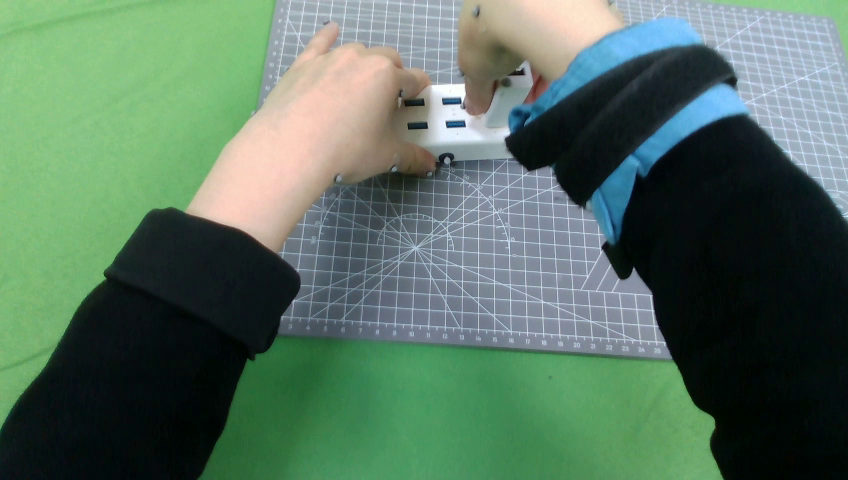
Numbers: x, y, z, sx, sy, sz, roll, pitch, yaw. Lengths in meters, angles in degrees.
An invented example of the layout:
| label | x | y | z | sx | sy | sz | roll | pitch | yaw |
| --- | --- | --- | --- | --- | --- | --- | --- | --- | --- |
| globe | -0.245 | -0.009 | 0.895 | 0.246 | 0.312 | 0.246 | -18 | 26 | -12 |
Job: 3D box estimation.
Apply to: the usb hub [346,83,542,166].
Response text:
| label | x | y | z | sx | sy | sz | roll | pitch | yaw |
| --- | --- | --- | --- | --- | --- | --- | --- | --- | --- |
| usb hub | 0.012 | -0.078 | 0.403 | 0.125 | 0.025 | 0.049 | -4 | 66 | -9 |

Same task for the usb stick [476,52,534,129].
| label | x | y | z | sx | sy | sz | roll | pitch | yaw |
| --- | --- | --- | --- | --- | --- | --- | --- | --- | --- |
| usb stick | 0.048 | -0.088 | 0.377 | 0.021 | 0.059 | 0.027 | -7 | 67 | -13 |
